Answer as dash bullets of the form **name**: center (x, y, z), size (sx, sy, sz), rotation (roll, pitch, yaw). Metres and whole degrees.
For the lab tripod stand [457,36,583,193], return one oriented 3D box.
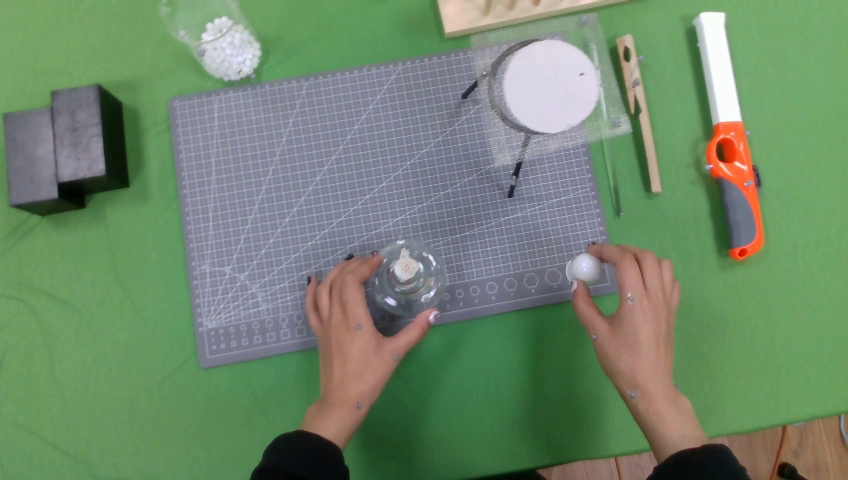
- **lab tripod stand**: center (0.094, -0.133, 0.606), size (0.148, 0.132, 0.148), rotation (0, 82, 2)

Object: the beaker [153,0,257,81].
- **beaker**: center (-0.225, -0.219, 0.637), size (0.084, 0.100, 0.074), rotation (8, 81, 2)

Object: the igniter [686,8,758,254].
- **igniter**: center (0.325, -0.122, 0.662), size (0.057, 0.025, 0.275), rotation (-4, 82, -11)

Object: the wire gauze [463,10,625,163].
- **wire gauze**: center (0.105, -0.140, 0.539), size (0.121, 0.011, 0.124), rotation (-12, 81, 0)

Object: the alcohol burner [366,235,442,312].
- **alcohol burner**: center (-0.021, 0.031, 0.593), size (0.078, 0.119, 0.077), rotation (0, 79, 2)

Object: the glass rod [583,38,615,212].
- **glass rod**: center (0.194, -0.128, 0.673), size (0.008, 0.008, 0.199), rotation (-7, 85, -2)

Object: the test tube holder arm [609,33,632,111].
- **test tube holder arm**: center (0.223, -0.187, 0.677), size (0.010, 0.015, 0.087), rotation (-16, 81, 35)

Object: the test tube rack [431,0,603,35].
- **test tube rack**: center (0.128, -0.298, 0.657), size (0.242, 0.085, 0.066), rotation (-13, 81, -2)

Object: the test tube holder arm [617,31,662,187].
- **test tube holder arm**: center (0.236, -0.145, 0.667), size (0.013, 0.015, 0.177), rotation (-18, 80, 35)

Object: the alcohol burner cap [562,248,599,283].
- **alcohol burner cap**: center (0.155, 0.022, 0.590), size (0.034, 0.048, 0.033), rotation (0, 80, 3)
